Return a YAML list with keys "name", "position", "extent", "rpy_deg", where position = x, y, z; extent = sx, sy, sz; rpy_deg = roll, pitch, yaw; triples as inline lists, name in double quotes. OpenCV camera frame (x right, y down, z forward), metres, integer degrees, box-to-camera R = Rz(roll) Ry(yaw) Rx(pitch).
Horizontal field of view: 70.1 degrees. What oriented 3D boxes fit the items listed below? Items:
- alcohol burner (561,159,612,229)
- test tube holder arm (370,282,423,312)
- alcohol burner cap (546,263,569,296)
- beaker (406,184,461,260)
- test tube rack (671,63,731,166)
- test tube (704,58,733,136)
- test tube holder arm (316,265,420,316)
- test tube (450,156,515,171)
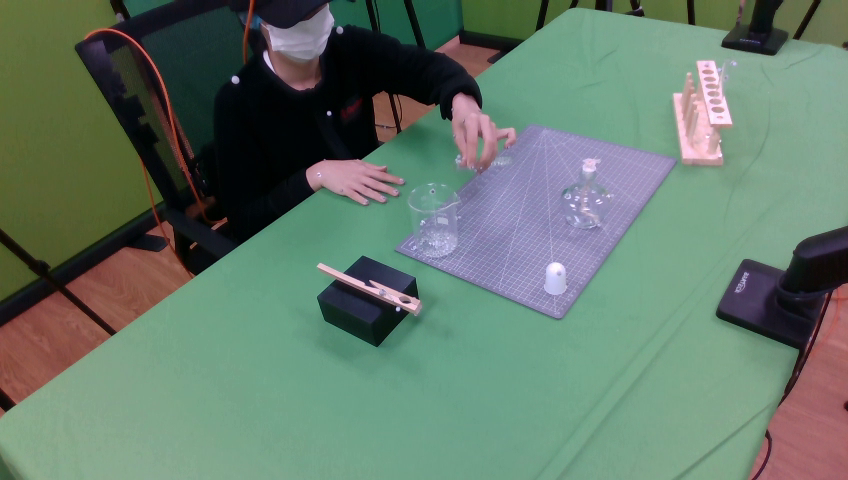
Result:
- name: "alcohol burner"
  position: [0.257, -0.077, 0.951]
  extent: [0.078, 0.119, 0.077]
  rpy_deg: [-3, 40, 3]
- name: "test tube holder arm"
  position: [-0.040, 0.076, 0.817]
  extent: [0.087, 0.015, 0.010]
  rpy_deg: [18, 56, 28]
- name: "alcohol burner cap"
  position: [0.191, 0.053, 0.862]
  extent: [0.034, 0.048, 0.033]
  rpy_deg: [-5, 40, 4]
- name: "beaker"
  position: [0.019, -0.026, 0.939]
  extent: [0.084, 0.101, 0.074]
  rpy_deg: [1, 41, 9]
- name: "test tube rack"
  position: [0.513, -0.240, 1.132]
  extent: [0.066, 0.085, 0.242]
  rpy_deg: [4, 41, 14]
- name: "test tube"
  position: [0.516, -0.247, 1.062]
  extent: [0.017, 0.151, 0.017]
  rpy_deg: [-3, 43, 4]
- name: "test tube holder arm"
  position: [-0.080, 0.068, 0.836]
  extent: [0.177, 0.015, 0.013]
  rpy_deg: [18, 55, 28]
- name: "test tube"
  position: [0.095, -0.120, 0.941]
  extent: [0.017, 0.017, 0.151]
  rpy_deg: [30, 28, 37]
